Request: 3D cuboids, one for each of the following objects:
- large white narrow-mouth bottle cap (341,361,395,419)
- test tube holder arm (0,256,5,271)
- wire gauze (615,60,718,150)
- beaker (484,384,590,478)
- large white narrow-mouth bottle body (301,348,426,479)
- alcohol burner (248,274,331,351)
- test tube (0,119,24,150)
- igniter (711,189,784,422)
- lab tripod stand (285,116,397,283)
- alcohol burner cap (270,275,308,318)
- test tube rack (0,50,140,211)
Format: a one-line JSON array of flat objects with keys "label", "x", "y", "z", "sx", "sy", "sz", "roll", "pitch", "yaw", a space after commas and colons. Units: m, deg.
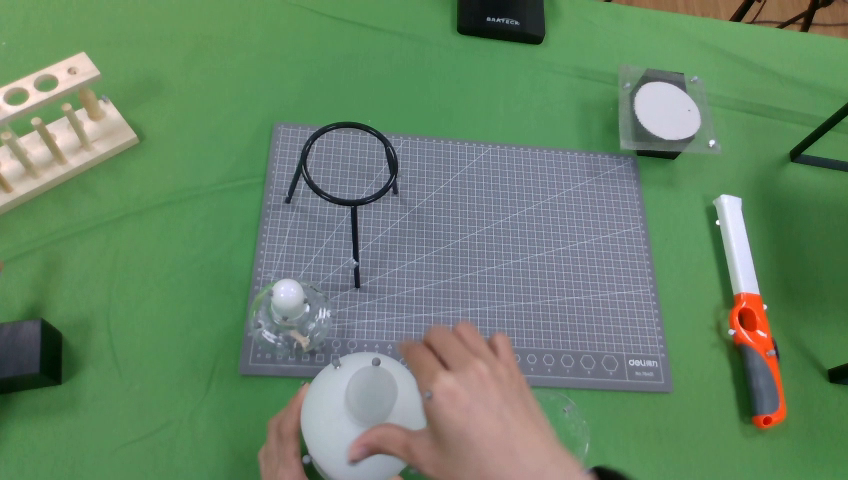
[{"label": "large white narrow-mouth bottle cap", "x": -0.039, "y": 0.102, "z": 0.412, "sx": 0.038, "sy": 0.024, "sz": 0.037, "roll": 3, "pitch": 65, "yaw": -7}, {"label": "test tube holder arm", "x": -0.390, "y": 0.054, "z": 0.530, "sx": 0.010, "sy": 0.015, "sz": 0.087, "roll": 7, "pitch": 64, "yaw": -5}, {"label": "wire gauze", "x": 0.294, "y": -0.165, "z": 0.743, "sx": 0.122, "sy": 0.011, "sz": 0.124, "roll": 6, "pitch": 66, "yaw": -6}, {"label": "beaker", "x": 0.096, "y": 0.178, "z": 0.560, "sx": 0.084, "sy": 0.101, "sz": 0.073, "roll": 30, "pitch": 64, "yaw": 7}, {"label": "large white narrow-mouth bottle body", "x": -0.050, "y": 0.144, "z": 0.500, "sx": 0.102, "sy": 0.196, "sz": 0.101, "roll": 3, "pitch": 65, "yaw": -6}, {"label": "alcohol burner", "x": -0.125, "y": 0.062, "z": 0.566, "sx": 0.078, "sy": 0.119, "sz": 0.077, "roll": 4, "pitch": 64, "yaw": -9}, {"label": "test tube", "x": -0.415, "y": -0.133, "z": 0.572, "sx": 0.017, "sy": 0.151, "sz": 0.017, "roll": 4, "pitch": 60, "yaw": -7}, {"label": "igniter", "x": 0.367, "y": 0.067, "z": 0.693, "sx": 0.057, "sy": 0.025, "sz": 0.274, "roll": 9, "pitch": 65, "yaw": -16}, {"label": "lab tripod stand", "x": -0.076, "y": -0.046, "z": 0.612, "sx": 0.149, "sy": 0.132, "sz": 0.147, "roll": 4, "pitch": 66, "yaw": -9}, {"label": "alcohol burner cap", "x": -0.120, "y": 0.048, "z": 0.533, "sx": 0.034, "sy": 0.048, "sz": 0.033, "roll": 2, "pitch": 71, "yaw": -7}, {"label": "test tube rack", "x": -0.425, "y": -0.089, "z": 0.605, "sx": 0.242, "sy": 0.085, "sz": 0.066, "roll": -35, "pitch": 75, "yaw": -22}]
